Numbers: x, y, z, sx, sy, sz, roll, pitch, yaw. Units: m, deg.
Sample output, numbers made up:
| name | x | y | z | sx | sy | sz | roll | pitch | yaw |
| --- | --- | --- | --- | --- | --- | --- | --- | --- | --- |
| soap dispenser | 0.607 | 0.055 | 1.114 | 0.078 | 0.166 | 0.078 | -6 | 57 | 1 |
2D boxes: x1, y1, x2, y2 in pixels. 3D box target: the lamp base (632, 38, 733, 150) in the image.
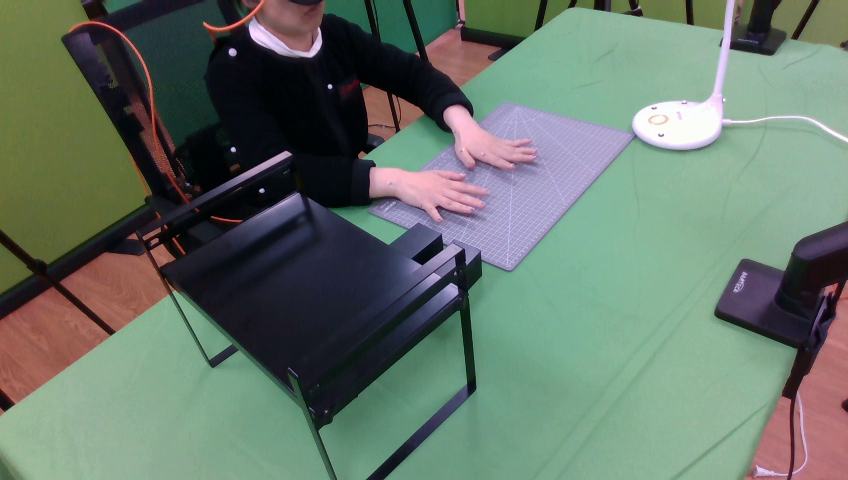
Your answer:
| name | x | y | z | sx | sy | sz | roll | pitch | yaw |
| --- | --- | --- | --- | --- | --- | --- | --- | --- | --- |
| lamp base | 0.486 | -0.280 | 1.108 | 0.179 | 0.181 | 0.159 | -5 | 41 | -1 |
